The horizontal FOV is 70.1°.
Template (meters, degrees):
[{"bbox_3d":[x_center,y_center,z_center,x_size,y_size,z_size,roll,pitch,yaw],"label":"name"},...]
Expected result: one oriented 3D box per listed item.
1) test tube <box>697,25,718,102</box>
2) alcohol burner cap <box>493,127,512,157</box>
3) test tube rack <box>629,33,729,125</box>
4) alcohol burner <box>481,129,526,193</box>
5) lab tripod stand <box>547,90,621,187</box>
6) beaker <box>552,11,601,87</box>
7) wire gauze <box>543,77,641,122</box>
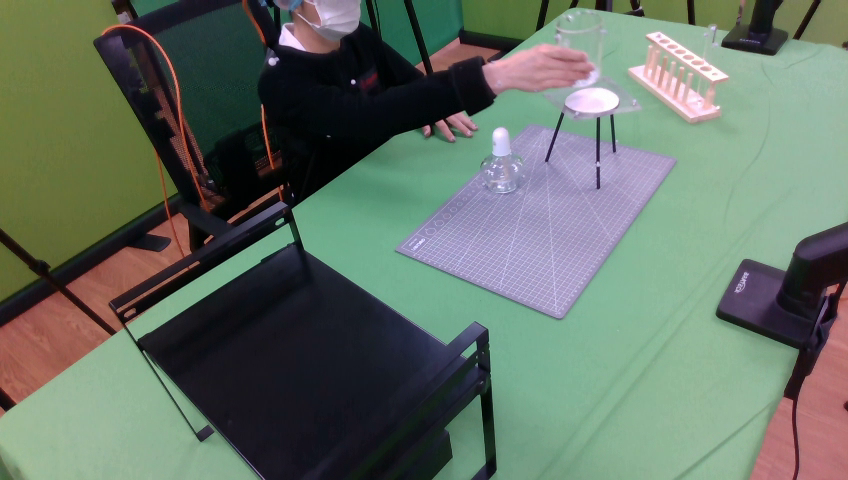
[{"bbox_3d":[0.546,-0.337,1.166,0.017,0.151,0.017,-5,36,4],"label":"test tube"},{"bbox_3d":[0.132,-0.169,1.029,0.034,0.048,0.033,-7,34,5],"label":"alcohol burner cap"},{"bbox_3d":[0.516,-0.337,1.247,0.067,0.085,0.240,-14,41,-7],"label":"test tube rack"},{"bbox_3d":[0.138,-0.142,1.052,0.078,0.119,0.077,-5,42,5],"label":"alcohol burner"},{"bbox_3d":[0.289,-0.184,1.062,0.148,0.132,0.147,-6,41,6],"label":"lab tripod stand"},{"bbox_3d":[0.246,-0.310,0.983,0.074,0.101,0.083,-16,42,-2],"label":"beaker"},{"bbox_3d":[0.282,-0.236,1.020,0.125,0.011,0.120,-15,40,-6],"label":"wire gauze"}]
